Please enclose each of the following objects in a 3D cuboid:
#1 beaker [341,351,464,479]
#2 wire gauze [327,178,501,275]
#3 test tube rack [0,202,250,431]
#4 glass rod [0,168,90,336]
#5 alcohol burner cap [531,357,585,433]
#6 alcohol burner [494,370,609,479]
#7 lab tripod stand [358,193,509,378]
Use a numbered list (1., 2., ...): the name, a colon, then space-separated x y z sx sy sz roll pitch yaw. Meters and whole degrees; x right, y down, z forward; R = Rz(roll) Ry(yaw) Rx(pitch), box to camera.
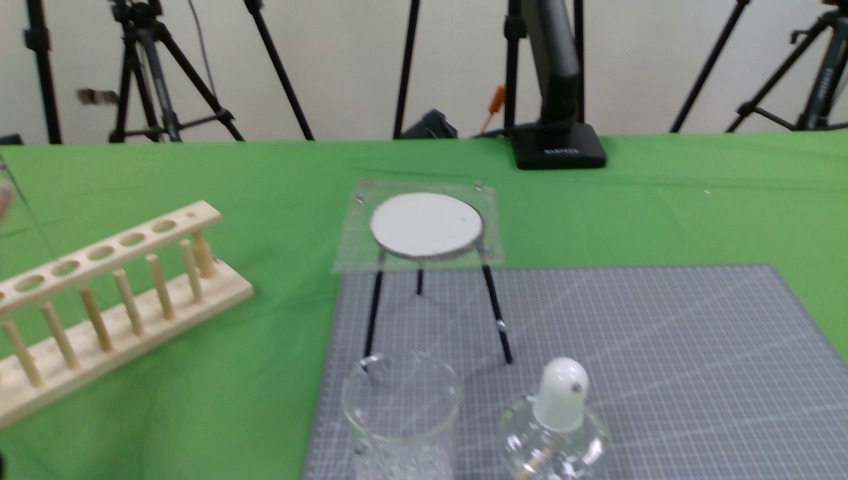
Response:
1. beaker: -0.016 0.134 0.406 0.083 0.101 0.074 28 45 35
2. wire gauze: -0.006 -0.014 0.467 0.121 0.011 0.124 1 36 1
3. test tube rack: -0.283 0.059 0.534 0.242 0.086 0.066 -31 45 -35
4. glass rod: -0.319 0.003 0.499 0.008 0.201 0.008 -5 33 4
5. alcohol burner cap: 0.087 0.095 0.383 0.034 0.048 0.033 2 37 -1
6. alcohol burner: 0.086 0.124 0.404 0.078 0.120 0.077 0 38 0
7. lab tripod stand: 0.004 0.039 0.509 0.148 0.132 0.147 1 35 0
